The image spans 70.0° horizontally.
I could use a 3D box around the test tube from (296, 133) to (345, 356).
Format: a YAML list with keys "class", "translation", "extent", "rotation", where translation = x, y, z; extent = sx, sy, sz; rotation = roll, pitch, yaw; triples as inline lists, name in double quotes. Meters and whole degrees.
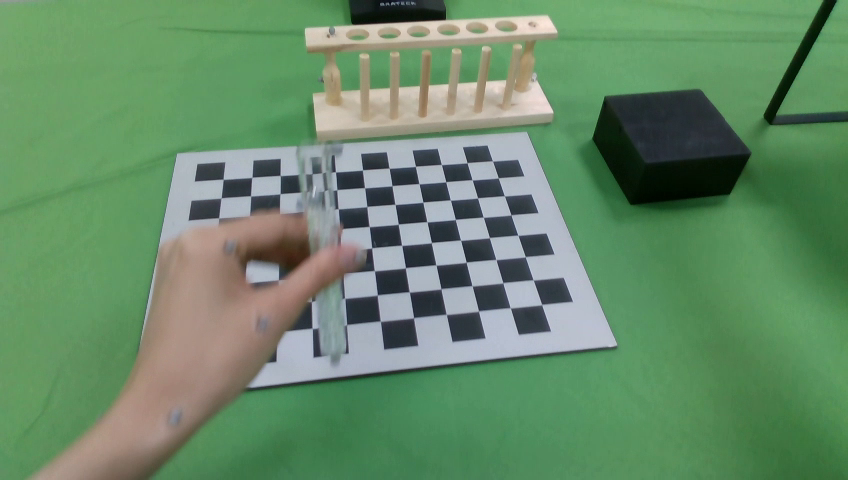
- class: "test tube"
  translation: [-0.053, 0.011, 0.322]
  extent: [0.017, 0.151, 0.017]
  rotation: [2, 41, -1]

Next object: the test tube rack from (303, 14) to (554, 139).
- class: "test tube rack"
  translation: [0.007, -0.164, 0.606]
  extent: [0.243, 0.086, 0.066]
  rotation: [-6, 48, -8]
